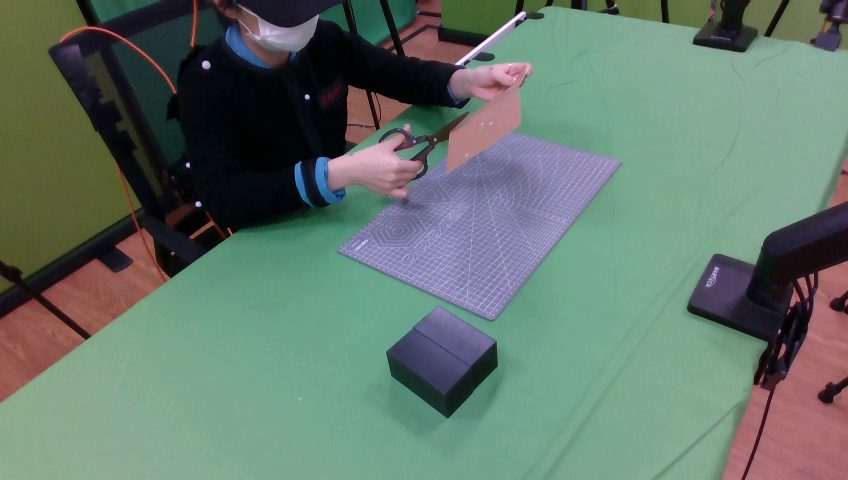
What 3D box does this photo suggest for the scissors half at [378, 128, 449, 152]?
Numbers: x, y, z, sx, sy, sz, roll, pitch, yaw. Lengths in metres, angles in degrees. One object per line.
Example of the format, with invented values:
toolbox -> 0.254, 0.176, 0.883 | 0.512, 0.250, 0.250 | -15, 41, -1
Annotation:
scissors half -> 0.004, -0.175, 1.005 | 0.174, 0.040, 0.013 | -6, 33, 17

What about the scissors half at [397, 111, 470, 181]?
scissors half -> 0.017, -0.156, 1.013 | 0.040, 0.175, 0.013 | 39, 32, -10

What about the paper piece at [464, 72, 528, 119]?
paper piece -> 0.113, -0.237, 1.024 | 0.135, 0.008, 0.138 | -28, 11, 26

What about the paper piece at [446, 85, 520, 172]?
paper piece -> 0.087, -0.171, 0.912 | 0.135, 0.004, 0.135 | -31, 29, 26
